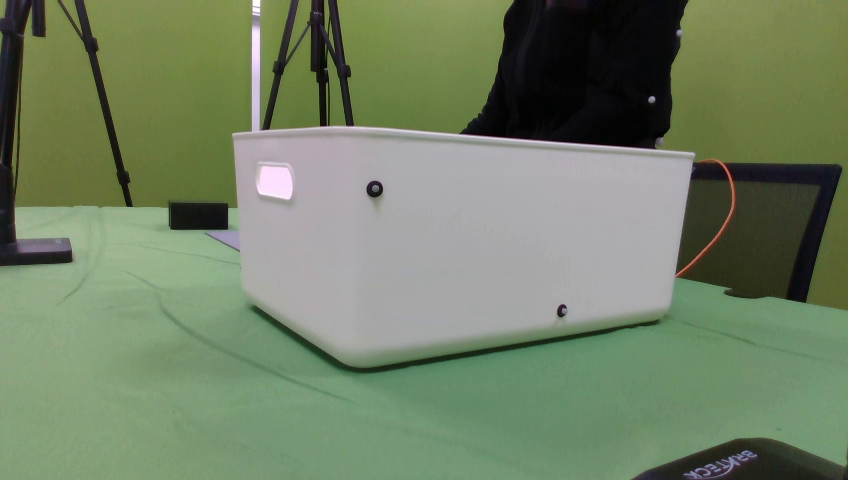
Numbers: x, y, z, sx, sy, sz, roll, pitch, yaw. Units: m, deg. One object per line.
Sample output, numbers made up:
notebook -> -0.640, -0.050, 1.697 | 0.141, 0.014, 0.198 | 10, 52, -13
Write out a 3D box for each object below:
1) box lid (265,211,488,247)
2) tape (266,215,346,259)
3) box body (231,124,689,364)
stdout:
box lid -> -0.095, -0.020, 1.085 | 0.373, 0.015, 0.262 | 4, 6, -17
tape -> -0.168, -0.006, 0.872 | 0.117, 0.052, 0.117 | 3, 7, 0
box body -> 0.031, -0.013, 0.563 | 0.366, 0.160, 0.253 | -3, 8, -33
